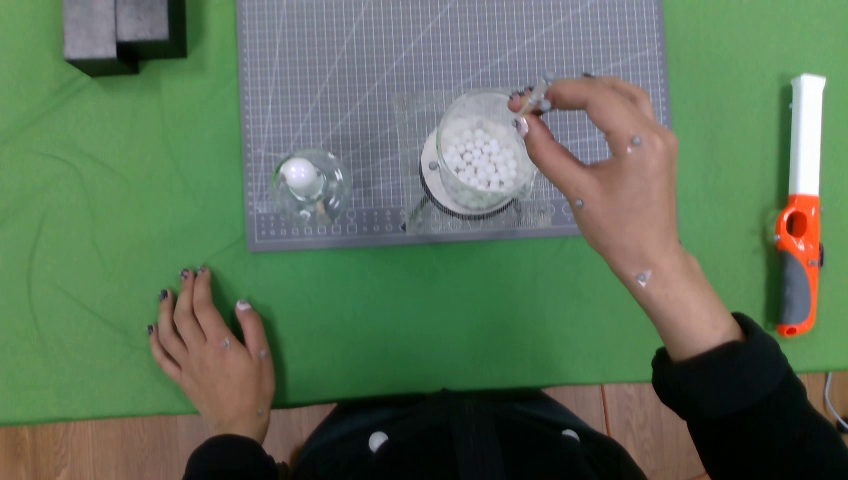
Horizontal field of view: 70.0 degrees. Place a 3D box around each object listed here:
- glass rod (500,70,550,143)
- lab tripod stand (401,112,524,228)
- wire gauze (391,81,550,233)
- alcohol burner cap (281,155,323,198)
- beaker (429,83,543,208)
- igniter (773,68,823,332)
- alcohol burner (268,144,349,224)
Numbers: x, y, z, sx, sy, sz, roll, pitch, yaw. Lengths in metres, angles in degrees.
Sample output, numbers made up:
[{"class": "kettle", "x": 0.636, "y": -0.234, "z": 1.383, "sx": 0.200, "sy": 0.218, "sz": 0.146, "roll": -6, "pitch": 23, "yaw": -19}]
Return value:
[{"class": "glass rod", "x": 0.063, "y": -0.082, "z": 0.400, "sx": 0.008, "sy": 0.199, "sz": 0.008, "roll": 0, "pitch": 90, "yaw": 1}, {"class": "lab tripod stand", "x": 0.036, "y": -0.062, "z": 0.567, "sx": 0.148, "sy": 0.131, "sz": 0.148, "roll": 0, "pitch": 86, "yaw": 0}, {"class": "wire gauze", "x": 0.038, "y": -0.069, "z": 0.501, "sx": 0.125, "sy": 0.011, "sz": 0.121, "roll": -4, "pitch": 86, "yaw": 0}, {"class": "alcohol burner cap", "x": -0.109, "y": -0.057, "z": 0.535, "sx": 0.034, "sy": 0.048, "sz": 0.034, "roll": 0, "pitch": 83, "yaw": 0}, {"class": "beaker", "x": 0.044, "y": -0.062, "z": 0.453, "sx": 0.074, "sy": 0.100, "sz": 0.084, "roll": -36, "pitch": 87, "yaw": -4}, {"class": "igniter", "x": 0.394, "y": -0.042, "z": 0.636, "sx": 0.057, "sy": 0.025, "sz": 0.276, "roll": 5, "pitch": 87, "yaw": -13}, {"class": "alcohol burner", "x": -0.111, "y": -0.056, "z": 0.571, "sx": 0.078, "sy": 0.119, "sz": 0.077, "roll": 0, "pitch": 85, "yaw": -2}]
